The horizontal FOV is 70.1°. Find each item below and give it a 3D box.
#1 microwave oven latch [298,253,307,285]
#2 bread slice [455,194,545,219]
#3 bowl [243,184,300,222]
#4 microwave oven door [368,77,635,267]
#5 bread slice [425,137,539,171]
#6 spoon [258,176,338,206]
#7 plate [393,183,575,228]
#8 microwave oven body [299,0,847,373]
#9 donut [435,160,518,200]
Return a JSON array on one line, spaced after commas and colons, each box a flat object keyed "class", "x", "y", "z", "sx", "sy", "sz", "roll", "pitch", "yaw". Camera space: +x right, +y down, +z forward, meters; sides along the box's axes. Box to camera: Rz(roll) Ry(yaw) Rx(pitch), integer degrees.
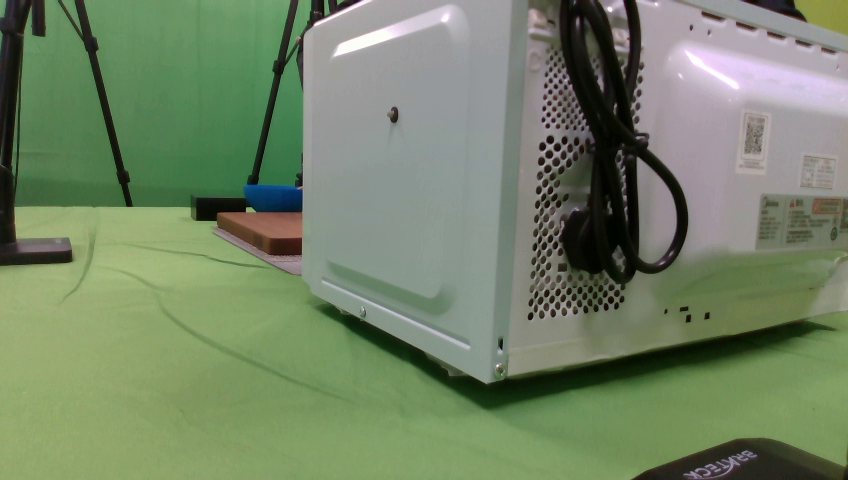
[{"class": "microwave oven latch", "x": -0.081, "y": 0.027, "z": 0.582, "sx": 0.079, "sy": 0.029, "sz": 0.030, "roll": -1, "pitch": 7, "yaw": -32}, {"class": "bread slice", "x": 0.088, "y": -0.040, "z": 0.693, "sx": 0.105, "sy": 0.019, "sz": 0.131, "roll": 0, "pitch": 9, "yaw": 3}, {"class": "bowl", "x": -0.322, "y": -0.081, "z": 1.334, "sx": 0.151, "sy": 0.077, "sz": 0.151, "roll": 3, "pitch": 7, "yaw": 0}, {"class": "microwave oven door", "x": 0.094, "y": -0.099, "z": 0.831, "sx": 0.355, "sy": 0.243, "sz": 0.039, "roll": 5, "pitch": 7, "yaw": 18}, {"class": "bread slice", "x": 0.071, "y": -0.100, "z": 0.691, "sx": 0.107, "sy": 0.018, "sz": 0.134, "roll": 0, "pitch": 16, "yaw": -18}, {"class": "spoon", "x": -0.279, "y": -0.112, "z": 1.356, "sx": 0.194, "sy": 0.021, "sz": 0.041, "roll": -27, "pitch": 20, "yaw": -27}, {"class": "plate", "x": 0.068, "y": -0.041, "z": 0.700, "sx": 0.208, "sy": 0.039, "sz": 0.207, "roll": 2, "pitch": 8, "yaw": 0}, {"class": "microwave oven body", "x": 0.151, "y": -0.055, "z": 0.543, "sx": 0.444, "sy": 0.260, "sz": 0.324, "roll": -2, "pitch": 7, "yaw": -33}, {"class": "donut", "x": 0.061, "y": -0.069, "z": 0.705, "sx": 0.099, "sy": 0.048, "sz": 0.099, "roll": -1, "pitch": 7, "yaw": 0}]
